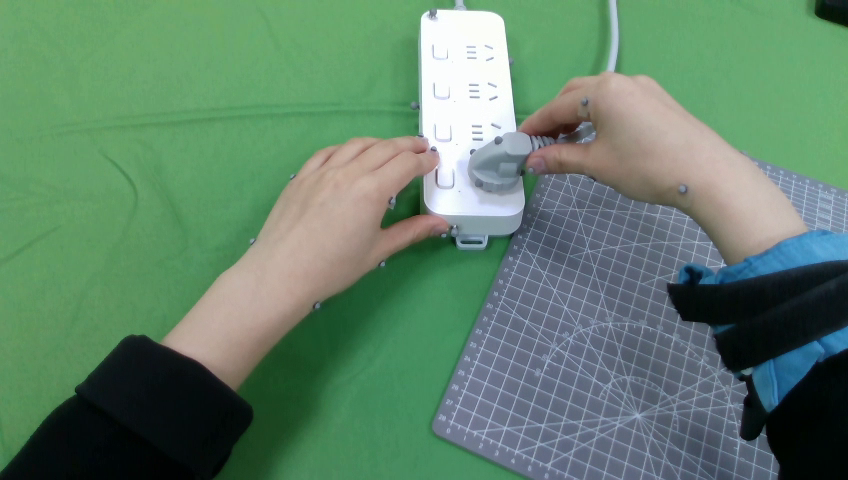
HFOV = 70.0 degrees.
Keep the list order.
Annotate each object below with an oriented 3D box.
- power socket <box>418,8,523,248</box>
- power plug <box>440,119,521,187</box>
[{"bbox_3d":[0.032,-0.098,0.463,0.072,0.033,0.224,2,58,-4],"label":"power socket"},{"bbox_3d":[0.031,-0.064,0.417,0.072,0.035,0.052,20,62,34],"label":"power plug"}]
